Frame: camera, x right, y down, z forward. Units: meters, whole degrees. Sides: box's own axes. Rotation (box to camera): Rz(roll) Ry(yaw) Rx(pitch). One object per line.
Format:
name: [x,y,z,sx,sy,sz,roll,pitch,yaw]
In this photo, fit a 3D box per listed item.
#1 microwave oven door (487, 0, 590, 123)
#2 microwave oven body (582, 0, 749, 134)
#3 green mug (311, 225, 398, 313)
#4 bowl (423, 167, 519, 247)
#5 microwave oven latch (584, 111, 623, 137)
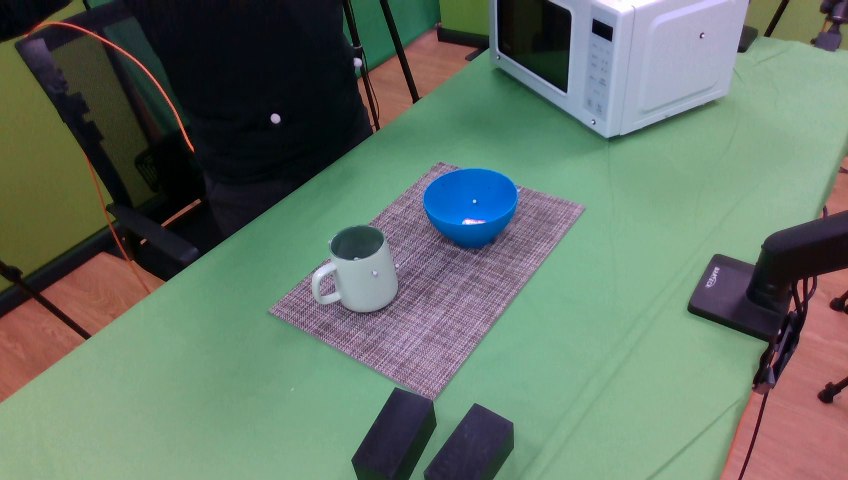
microwave oven door: [0.232,-0.420,1.231,0.039,0.245,0.352,-22,43,-16]
microwave oven body: [0.382,-0.444,1.246,0.327,0.261,0.437,-22,42,-16]
green mug: [-0.101,0.050,0.857,0.126,0.105,0.091,-28,45,-23]
bowl: [0.075,-0.041,0.958,0.151,0.077,0.150,-4,40,4]
microwave oven latch: [0.337,-0.222,1.142,0.030,0.029,0.078,-21,42,-14]
